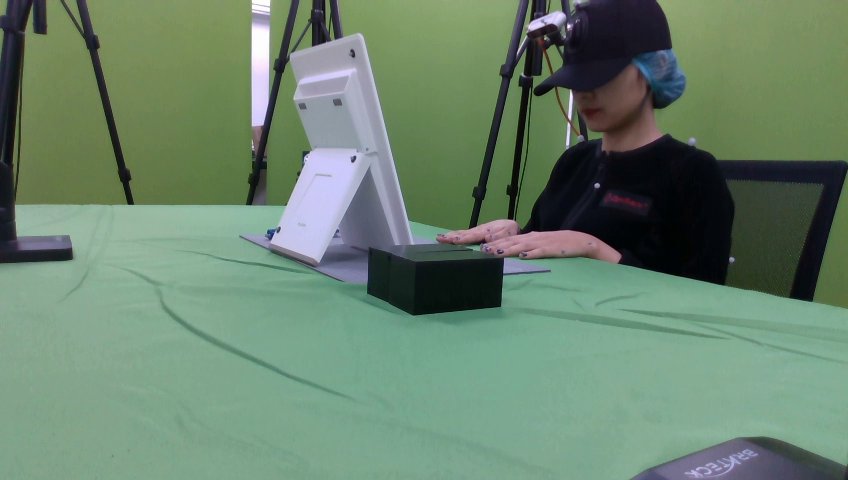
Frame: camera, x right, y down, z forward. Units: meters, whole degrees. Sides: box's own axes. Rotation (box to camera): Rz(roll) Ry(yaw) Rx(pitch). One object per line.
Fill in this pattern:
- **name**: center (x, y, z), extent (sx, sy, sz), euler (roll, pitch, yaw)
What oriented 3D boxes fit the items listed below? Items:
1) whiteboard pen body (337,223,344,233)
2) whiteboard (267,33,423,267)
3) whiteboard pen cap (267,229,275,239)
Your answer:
- **whiteboard pen body**: center (-0.195, -0.016, 1.034), extent (0.141, 0.017, 0.017), euler (-6, 10, -39)
- **whiteboard**: center (-0.153, -0.097, 0.819), extent (0.144, 0.305, 0.216), euler (-25, 21, -29)
- **whiteboard pen cap**: center (-0.240, -0.010, 0.996), extent (0.033, 0.018, 0.018), euler (-6, 10, -38)
